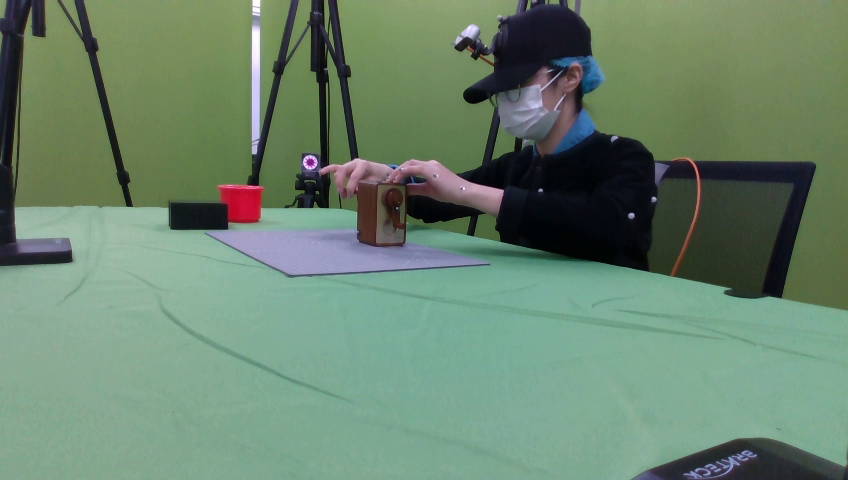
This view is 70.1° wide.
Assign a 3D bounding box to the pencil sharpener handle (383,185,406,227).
[{"bbox_3d":[-0.042,-0.055,0.975,0.036,0.068,0.030,-10,13,-31],"label":"pencil sharpener handle"}]

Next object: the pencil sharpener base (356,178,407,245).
[{"bbox_3d":[-0.071,-0.049,1.018,0.062,0.107,0.076,-2,9,-32],"label":"pencil sharpener base"}]

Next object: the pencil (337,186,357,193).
[{"bbox_3d":[-0.116,-0.087,1.098,0.012,0.012,0.193,-2,9,-31],"label":"pencil"}]
